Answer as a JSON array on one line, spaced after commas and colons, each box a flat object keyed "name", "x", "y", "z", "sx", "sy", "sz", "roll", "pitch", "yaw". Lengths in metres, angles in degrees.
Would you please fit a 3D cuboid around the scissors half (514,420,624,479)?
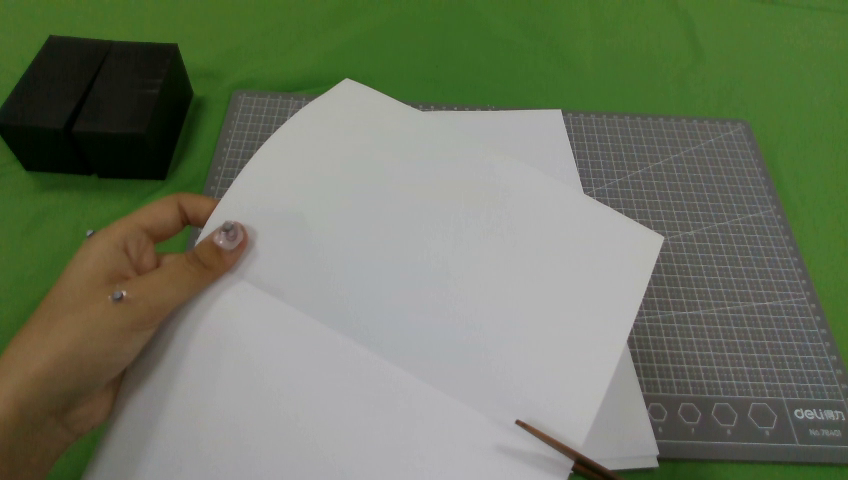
[{"name": "scissors half", "x": 0.110, "y": 0.122, "z": 0.258, "sx": 0.176, "sy": 0.040, "sz": 0.012, "roll": 34, "pitch": 70, "yaw": -8}]

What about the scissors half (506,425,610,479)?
[{"name": "scissors half", "x": 0.112, "y": 0.114, "z": 0.237, "sx": 0.174, "sy": 0.040, "sz": 0.013, "roll": 23, "pitch": 64, "yaw": 20}]
